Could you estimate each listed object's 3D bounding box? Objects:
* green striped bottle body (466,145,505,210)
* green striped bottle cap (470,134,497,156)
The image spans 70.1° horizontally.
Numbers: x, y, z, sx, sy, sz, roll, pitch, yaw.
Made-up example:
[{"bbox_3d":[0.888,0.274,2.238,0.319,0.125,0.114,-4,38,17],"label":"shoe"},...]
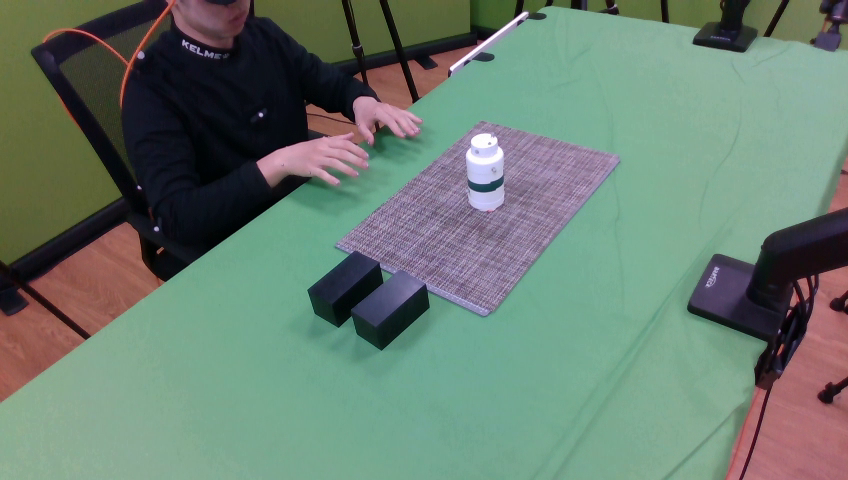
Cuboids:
[{"bbox_3d":[0.102,-0.113,1.005,0.063,0.120,0.063,-4,41,4],"label":"green striped bottle body"},{"bbox_3d":[0.096,-0.152,0.971,0.044,0.020,0.044,-4,37,4],"label":"green striped bottle cap"}]
